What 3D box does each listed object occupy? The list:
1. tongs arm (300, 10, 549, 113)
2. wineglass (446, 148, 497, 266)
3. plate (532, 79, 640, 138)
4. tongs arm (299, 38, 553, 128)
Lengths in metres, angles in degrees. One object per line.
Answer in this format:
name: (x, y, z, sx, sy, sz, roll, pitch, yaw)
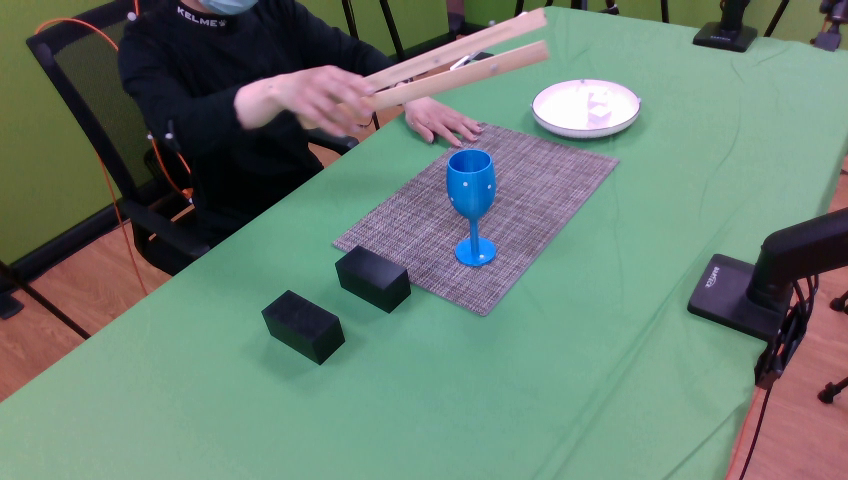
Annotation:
tongs arm: (-0.004, -0.252, 0.889, 0.384, 0.027, 0.050, -16, 32, 14)
wineglass: (0.072, -0.046, 0.889, 0.074, 0.173, 0.073, -4, 41, 4)
plate: (0.322, -0.259, 1.212, 0.209, 0.038, 0.208, -4, 40, 4)
tongs arm: (-0.014, -0.209, 0.828, 0.385, 0.028, 0.028, -10, 38, 24)
